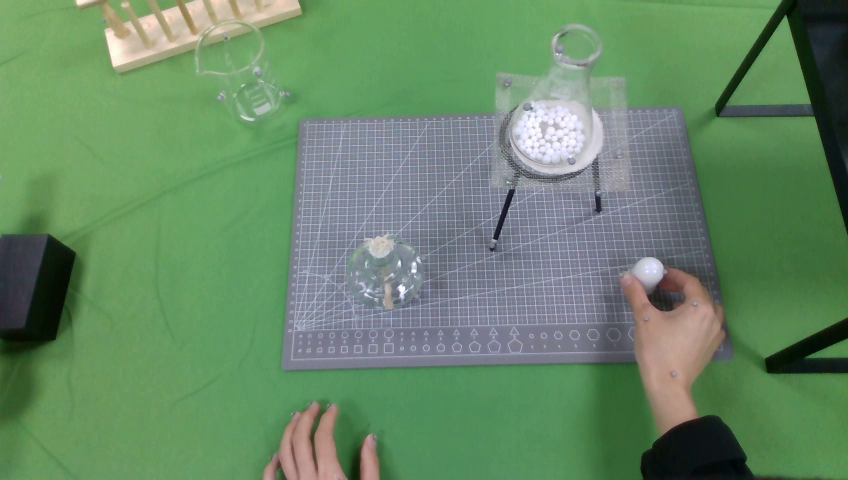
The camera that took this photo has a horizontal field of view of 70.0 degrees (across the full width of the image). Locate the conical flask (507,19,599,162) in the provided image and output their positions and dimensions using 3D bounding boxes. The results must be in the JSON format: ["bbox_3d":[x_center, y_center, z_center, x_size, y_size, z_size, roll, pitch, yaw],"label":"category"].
[{"bbox_3d":[0.111,-0.123,0.494,0.075,0.123,0.075,0,68,1],"label":"conical flask"}]

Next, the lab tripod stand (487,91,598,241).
[{"bbox_3d":[0.116,-0.075,0.610,0.148,0.132,0.147,0,66,0],"label":"lab tripod stand"}]

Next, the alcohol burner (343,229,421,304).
[{"bbox_3d":[-0.042,0.019,0.588,0.078,0.120,0.077,0,67,0],"label":"alcohol burner"}]

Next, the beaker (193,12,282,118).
[{"bbox_3d":[-0.209,-0.192,0.688,0.084,0.101,0.073,-42,72,-13],"label":"beaker"}]

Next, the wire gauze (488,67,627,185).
[{"bbox_3d":[0.121,-0.104,0.550,0.121,0.011,0.124,5,66,1],"label":"wire gauze"}]

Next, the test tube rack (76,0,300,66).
[{"bbox_3d":[-0.285,-0.301,0.742,0.242,0.086,0.066,-20,69,-7],"label":"test tube rack"}]

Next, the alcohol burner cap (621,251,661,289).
[{"bbox_3d":[0.222,0.027,0.615,0.034,0.048,0.033,-1,68,2],"label":"alcohol burner cap"}]
